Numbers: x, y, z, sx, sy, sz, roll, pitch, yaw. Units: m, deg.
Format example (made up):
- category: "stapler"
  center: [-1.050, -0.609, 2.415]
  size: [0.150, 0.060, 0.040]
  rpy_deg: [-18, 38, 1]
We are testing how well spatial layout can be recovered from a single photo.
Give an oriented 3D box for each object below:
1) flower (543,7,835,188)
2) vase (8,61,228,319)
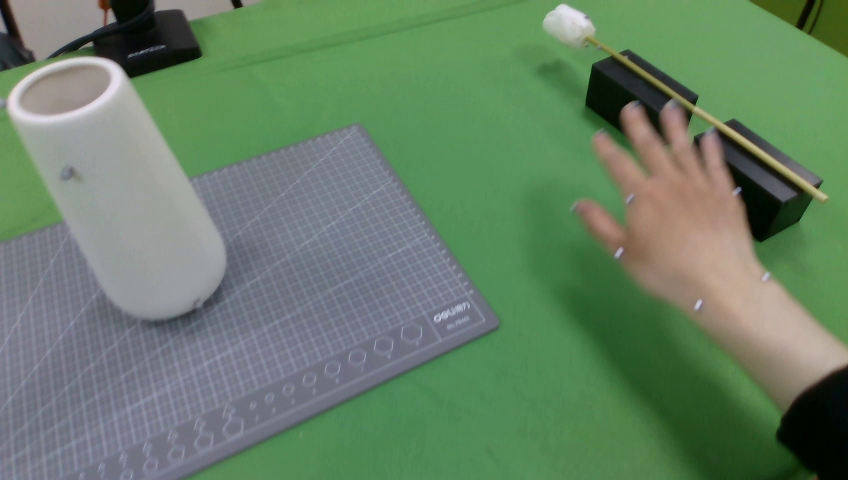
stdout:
- category: "flower"
  center: [0.237, -0.149, 0.593]
  size: [0.044, 0.038, 0.357]
  rpy_deg: [-11, 43, -29]
- category: "vase"
  center: [-0.218, -0.029, 0.451]
  size: [0.098, 0.202, 0.097]
  rpy_deg: [-2, 48, 3]
